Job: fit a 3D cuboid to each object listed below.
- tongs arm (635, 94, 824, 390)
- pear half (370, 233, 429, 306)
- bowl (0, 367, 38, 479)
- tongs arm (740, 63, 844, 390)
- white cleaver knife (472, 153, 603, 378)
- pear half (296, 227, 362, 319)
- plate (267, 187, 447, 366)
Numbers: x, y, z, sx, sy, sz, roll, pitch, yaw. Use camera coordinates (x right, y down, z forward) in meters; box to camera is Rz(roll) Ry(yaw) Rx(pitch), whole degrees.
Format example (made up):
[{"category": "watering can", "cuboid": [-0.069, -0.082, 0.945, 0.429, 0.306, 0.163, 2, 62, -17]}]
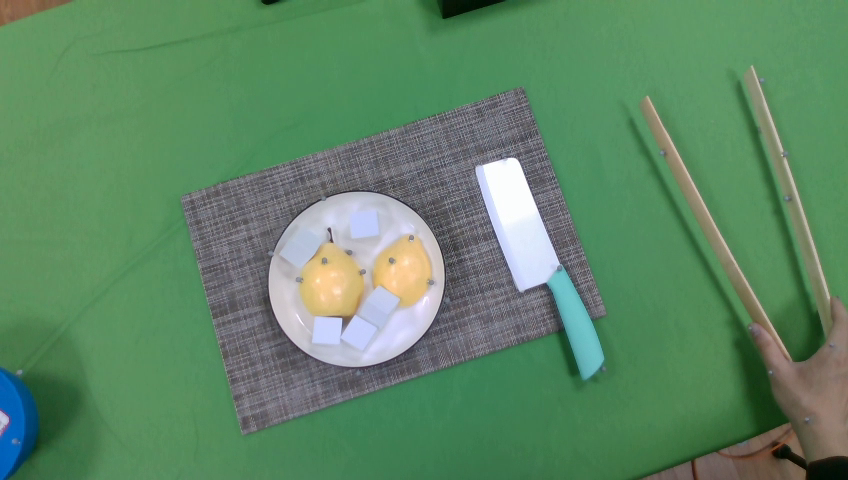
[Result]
[{"category": "tongs arm", "cuboid": [0.342, 0.000, 0.699, 0.028, 0.028, 0.386, -24, 81, -11]}, {"category": "pear half", "cuboid": [-0.028, 0.034, 0.707, 0.070, 0.031, 0.088, 14, 87, 1]}, {"category": "bowl", "cuboid": [-0.499, 0.210, 0.683, 0.151, 0.077, 0.151, 0, 81, 1]}, {"category": "tongs arm", "cuboid": [0.415, -0.022, 0.705, 0.051, 0.026, 0.383, -13, 80, -6]}, {"category": "white cleaver knife", "cuboid": [0.133, 0.027, 0.723, 0.066, 0.021, 0.285, -23, 77, 9]}, {"category": "pear half", "cuboid": [-0.112, 0.035, 0.702, 0.076, 0.056, 0.109, -8, 77, -3]}, {"category": "plate", "cuboid": [-0.077, 0.043, 0.713, 0.207, 0.039, 0.207, 0, 81, 2]}]
